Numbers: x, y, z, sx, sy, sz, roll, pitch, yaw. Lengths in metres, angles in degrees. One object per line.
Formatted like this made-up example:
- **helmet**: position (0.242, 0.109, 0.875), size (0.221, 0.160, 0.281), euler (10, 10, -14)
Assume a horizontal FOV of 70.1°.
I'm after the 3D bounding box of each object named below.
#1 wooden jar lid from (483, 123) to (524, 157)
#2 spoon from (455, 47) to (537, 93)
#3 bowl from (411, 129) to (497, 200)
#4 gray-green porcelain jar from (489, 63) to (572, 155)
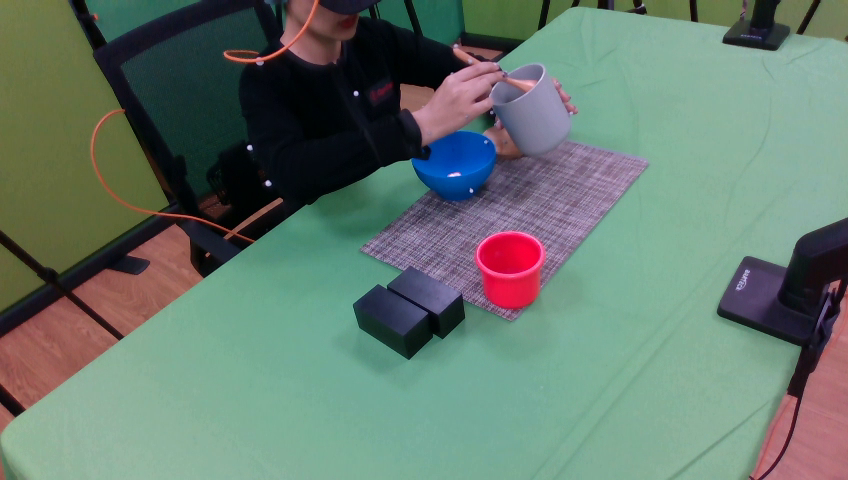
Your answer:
- **wooden jar lid**: position (0.165, -0.194, 1.177), size (0.108, 0.021, 0.108), euler (-4, 40, 4)
- **spoon**: position (0.130, -0.259, 0.964), size (0.195, 0.021, 0.041), euler (18, 70, -21)
- **bowl**: position (0.056, -0.124, 1.069), size (0.151, 0.077, 0.150), euler (-5, 40, 5)
- **gray-green porcelain jar**: position (0.185, -0.217, 1.031), size (0.105, 0.127, 0.105), euler (-25, 36, 20)
